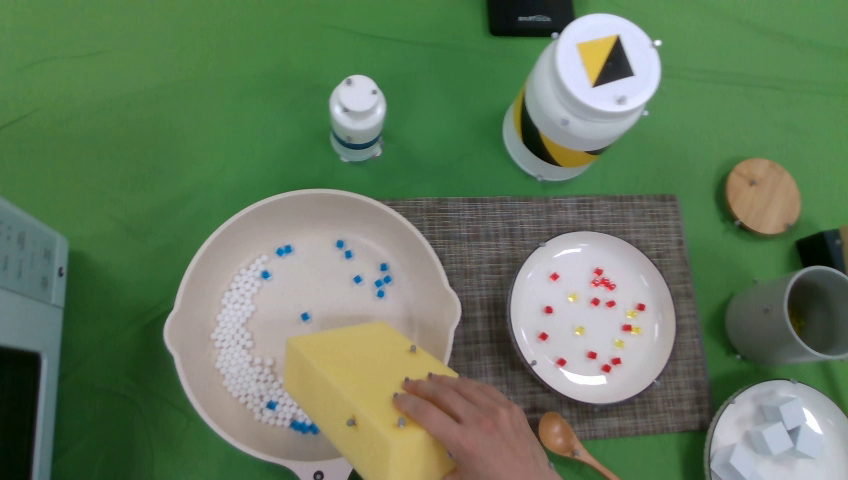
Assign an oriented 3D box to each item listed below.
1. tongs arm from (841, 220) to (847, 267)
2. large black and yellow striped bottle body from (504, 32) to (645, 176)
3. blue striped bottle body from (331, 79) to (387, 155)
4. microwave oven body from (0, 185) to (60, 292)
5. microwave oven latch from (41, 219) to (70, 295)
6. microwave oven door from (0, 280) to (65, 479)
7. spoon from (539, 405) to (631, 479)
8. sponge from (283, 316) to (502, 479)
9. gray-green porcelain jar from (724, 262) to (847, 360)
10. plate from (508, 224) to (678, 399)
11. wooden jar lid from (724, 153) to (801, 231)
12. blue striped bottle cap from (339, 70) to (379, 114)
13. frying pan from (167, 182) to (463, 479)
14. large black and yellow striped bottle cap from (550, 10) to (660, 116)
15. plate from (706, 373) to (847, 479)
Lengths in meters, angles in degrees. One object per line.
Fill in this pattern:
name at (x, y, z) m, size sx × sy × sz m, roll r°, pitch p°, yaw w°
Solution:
tongs arm at (0.568, 0.163, 0.744) m, size 0.051 × 0.026 × 0.384 m, roll -7°, pitch 88°, yaw -12°
large black and yellow striped bottle body at (0.178, -0.166, 0.716) m, size 0.131 × 0.184 × 0.130 m, roll 2°, pitch 76°, yaw -7°
blue striped bottle body at (-0.077, -0.149, 0.705) m, size 0.063 × 0.121 × 0.063 m, roll 2°, pitch 76°, yaw -8°
microwave oven body at (-0.521, 0.170, 0.488) m, size 0.327 × 0.261 × 0.439 m, roll -1°, pitch 78°, yaw -9°
microwave oven latch at (-0.396, 0.018, 0.642) m, size 0.030 × 0.029 × 0.079 m, roll 1°, pitch 77°, yaw -8°
microwave oven door at (-0.374, 0.207, 0.496) m, size 0.039 × 0.244 × 0.354 m, roll -1°, pitch 77°, yaw -9°
spoon at (0.207, 0.261, 0.701) m, size 0.193 × 0.022 × 0.041 m, roll 39°, pitch 58°, yaw 0°
sponge at (-0.040, 0.148, 0.587) m, size 0.119 × 0.205 × 0.061 m, roll -6°, pitch 111°, yaw -37°
gray-green porcelain jar at (0.435, 0.089, 0.724) m, size 0.106 × 0.127 × 0.105 m, roll 2°, pitch 76°, yaw -8°
plate at (0.200, 0.085, 0.732) m, size 0.209 × 0.038 × 0.208 m, roll 2°, pitch 77°, yaw -7°
wooden jar lid at (0.454, -0.064, 0.817) m, size 0.108 × 0.021 × 0.108 m, roll 2°, pitch 78°, yaw -8°
blue striped bottle cap at (-0.070, -0.161, 0.656) m, size 0.044 × 0.021 × 0.044 m, roll 2°, pitch 74°, yaw -6°
frying pan at (-0.104, 0.179, 0.630) m, size 0.307 × 0.103 × 0.484 m, roll -3°, pitch 69°, yaw -7°
large black and yellow striped bottle cap at (0.190, -0.186, 0.633) m, size 0.115 × 0.019 × 0.114 m, roll 2°, pitch 75°, yaw -7°
plate at (0.432, 0.265, 0.728) m, size 0.208 × 0.039 × 0.206 m, roll 2°, pitch 76°, yaw -8°
